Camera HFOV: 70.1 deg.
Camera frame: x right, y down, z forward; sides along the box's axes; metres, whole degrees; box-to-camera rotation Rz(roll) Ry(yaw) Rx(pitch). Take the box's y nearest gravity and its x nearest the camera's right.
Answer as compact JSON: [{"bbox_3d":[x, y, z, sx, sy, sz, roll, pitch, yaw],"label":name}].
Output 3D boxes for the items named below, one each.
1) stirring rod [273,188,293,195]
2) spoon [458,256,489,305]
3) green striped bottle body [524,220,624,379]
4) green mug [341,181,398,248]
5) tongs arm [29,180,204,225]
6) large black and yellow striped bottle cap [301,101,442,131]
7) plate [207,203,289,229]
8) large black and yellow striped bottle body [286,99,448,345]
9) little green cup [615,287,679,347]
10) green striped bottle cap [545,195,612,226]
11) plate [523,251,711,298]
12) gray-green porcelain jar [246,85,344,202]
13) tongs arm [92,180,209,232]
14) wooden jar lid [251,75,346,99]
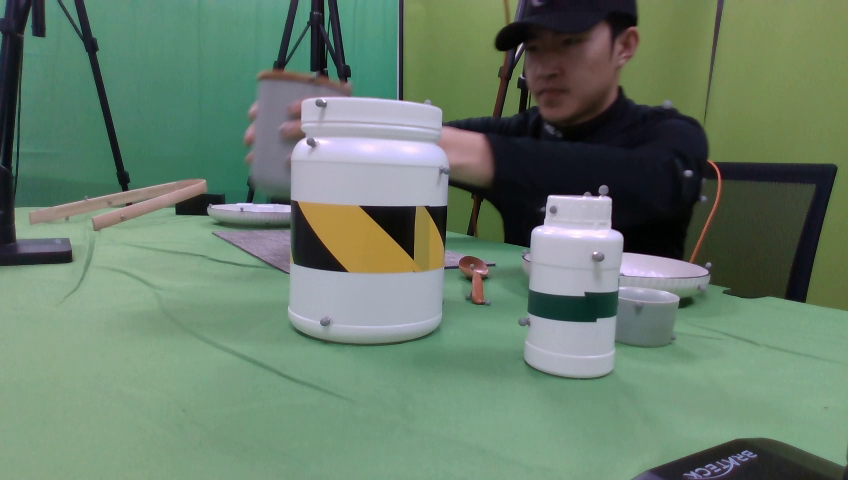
[{"bbox_3d":[-0.353,-0.122,1.518,0.006,0.014,0.176,1,7,2],"label":"stirring rod"},{"bbox_3d":[0.059,0.044,0.696,0.041,0.021,0.194,20,7,0],"label":"spoon"},{"bbox_3d":[0.104,0.031,0.422,0.063,0.119,0.063,2,8,0],"label":"green striped bottle body"},{"bbox_3d":[-0.089,-0.044,0.997,0.093,0.105,0.125,0,6,-8],"label":"green mug"},{"bbox_3d":[-0.609,-0.083,1.245,0.050,0.026,0.386,5,16,23],"label":"tongs arm"},{"bbox_3d":[-0.042,-0.100,0.491,0.115,0.019,0.115,1,8,0],"label":"large black and yellow striped bottle cap"},{"bbox_3d":[-0.342,-0.050,1.259,0.208,0.039,0.207,3,7,0],"label":"plate"},{"bbox_3d":[-0.047,-0.018,0.501,0.131,0.184,0.130,2,7,0],"label":"large black and yellow striped bottle body"},{"bbox_3d":[0.180,0.064,0.506,0.061,0.038,0.061,2,8,0],"label":"little green cup"},{"bbox_3d":[0.106,-0.020,0.414,0.044,0.020,0.044,2,4,0],"label":"green striped bottle cap"},{"bbox_3d":[0.219,0.041,0.706,0.209,0.038,0.209,2,7,0],"label":"plate"},{"bbox_3d":[-0.151,-0.108,0.706,0.106,0.126,0.106,6,6,0],"label":"gray-green porcelain jar"},{"bbox_3d":[-0.534,-0.076,1.222,0.028,0.028,0.388,-2,15,12],"label":"tongs arm"},{"bbox_3d":[-0.145,-0.169,0.699,0.108,0.020,0.108,8,5,0],"label":"wooden jar lid"}]
